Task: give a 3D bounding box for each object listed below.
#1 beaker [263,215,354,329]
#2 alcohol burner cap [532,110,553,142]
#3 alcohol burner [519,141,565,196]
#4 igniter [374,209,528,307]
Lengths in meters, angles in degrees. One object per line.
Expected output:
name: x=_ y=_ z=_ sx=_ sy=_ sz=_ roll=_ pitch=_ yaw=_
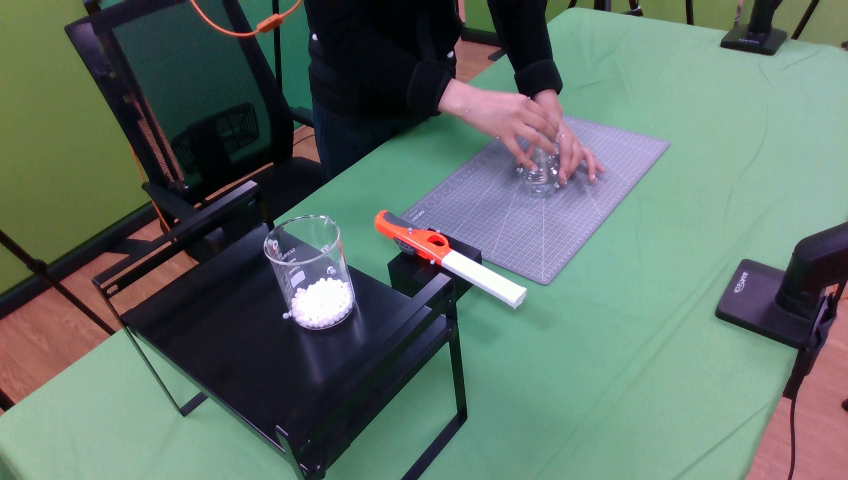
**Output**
beaker: x=-0.112 y=0.034 z=0.616 sx=0.073 sy=0.101 sz=0.084 roll=13 pitch=44 yaw=23
alcohol burner cap: x=0.192 y=-0.186 z=0.979 sx=0.034 sy=0.048 sz=0.033 roll=-4 pitch=31 yaw=3
alcohol burner: x=0.200 y=-0.135 z=1.026 sx=0.078 sy=0.119 sz=0.077 roll=-5 pitch=41 yaw=5
igniter: x=0.027 y=0.019 z=0.873 sx=0.274 sy=0.025 sz=0.057 roll=29 pitch=52 yaw=31
